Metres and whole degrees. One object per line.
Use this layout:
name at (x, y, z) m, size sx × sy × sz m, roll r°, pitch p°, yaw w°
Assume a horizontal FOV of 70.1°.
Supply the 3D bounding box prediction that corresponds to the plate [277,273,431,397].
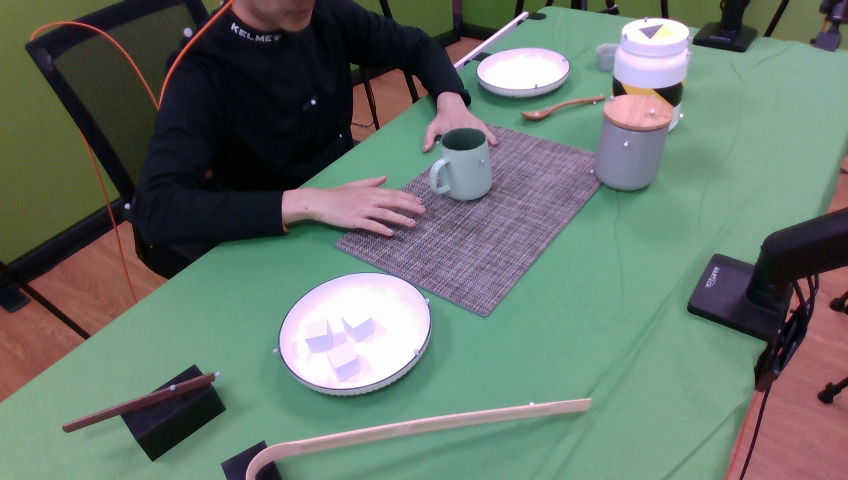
plate at (-0.091, 0.129, 0.821) m, size 0.207 × 0.039 × 0.206 m, roll -4°, pitch 40°, yaw 4°

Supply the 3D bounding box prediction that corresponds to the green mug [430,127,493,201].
green mug at (0.059, -0.121, 1.034) m, size 0.126 × 0.105 × 0.091 m, roll -35°, pitch 48°, yaw -28°

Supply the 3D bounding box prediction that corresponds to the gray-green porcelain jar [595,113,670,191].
gray-green porcelain jar at (0.346, -0.155, 1.017) m, size 0.106 × 0.127 × 0.105 m, roll -2°, pitch 44°, yaw 2°

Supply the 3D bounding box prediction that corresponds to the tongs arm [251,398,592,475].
tongs arm at (0.008, 0.213, 0.675) m, size 0.389 × 0.028 × 0.028 m, roll -5°, pitch 46°, yaw -11°

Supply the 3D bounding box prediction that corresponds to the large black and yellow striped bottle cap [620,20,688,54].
large black and yellow striped bottle cap at (0.411, -0.363, 1.080) m, size 0.115 × 0.019 × 0.114 m, roll -4°, pitch 42°, yaw 4°

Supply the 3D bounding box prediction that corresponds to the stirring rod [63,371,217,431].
stirring rod at (-0.337, 0.192, 0.723) m, size 0.177 × 0.014 × 0.005 m, roll -18°, pitch 42°, yaw -12°

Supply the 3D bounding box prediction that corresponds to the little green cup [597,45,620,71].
little green cup at (0.423, -0.413, 1.376) m, size 0.061 × 0.039 × 0.061 m, roll -4°, pitch 41°, yaw 4°

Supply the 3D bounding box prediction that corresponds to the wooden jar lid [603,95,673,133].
wooden jar lid at (0.343, -0.200, 0.974) m, size 0.108 × 0.021 × 0.108 m, roll -2°, pitch 39°, yaw 2°

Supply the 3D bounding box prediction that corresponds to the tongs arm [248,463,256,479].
tongs arm at (0.012, 0.263, 0.615) m, size 0.385 × 0.026 × 0.050 m, roll 2°, pitch 41°, yaw -2°

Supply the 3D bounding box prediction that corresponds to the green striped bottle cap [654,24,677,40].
green striped bottle cap at (0.495, -0.426, 1.237) m, size 0.044 × 0.020 × 0.044 m, roll -6°, pitch 42°, yaw 5°

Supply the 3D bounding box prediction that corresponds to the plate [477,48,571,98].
plate at (0.223, -0.371, 1.357) m, size 0.209 × 0.038 × 0.208 m, roll -4°, pitch 41°, yaw 4°

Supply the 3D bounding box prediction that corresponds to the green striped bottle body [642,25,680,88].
green striped bottle body at (0.499, -0.387, 1.271) m, size 0.063 × 0.120 × 0.063 m, roll -4°, pitch 41°, yaw 4°

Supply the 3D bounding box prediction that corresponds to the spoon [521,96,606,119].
spoon at (0.291, -0.277, 1.249) m, size 0.194 × 0.022 × 0.041 m, roll -18°, pitch 22°, yaw -11°

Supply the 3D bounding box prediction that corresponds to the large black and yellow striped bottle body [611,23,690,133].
large black and yellow striped bottle body at (0.420, -0.299, 1.132) m, size 0.131 × 0.185 × 0.130 m, roll -5°, pitch 40°, yaw 4°
